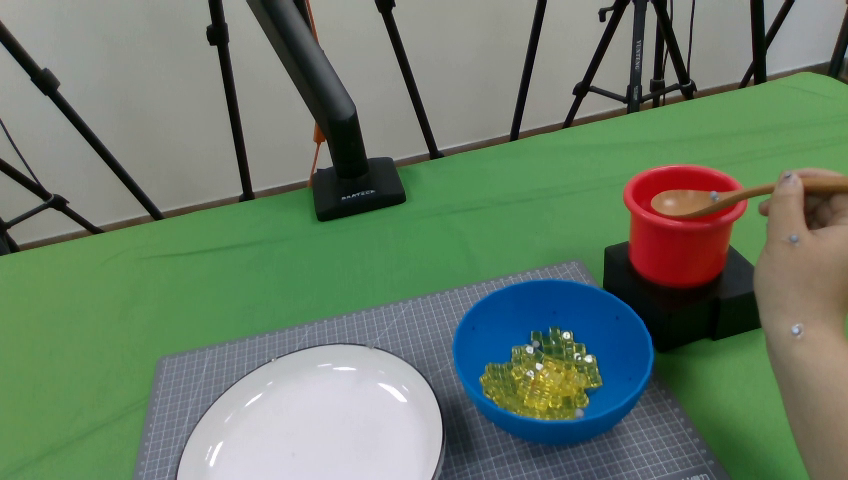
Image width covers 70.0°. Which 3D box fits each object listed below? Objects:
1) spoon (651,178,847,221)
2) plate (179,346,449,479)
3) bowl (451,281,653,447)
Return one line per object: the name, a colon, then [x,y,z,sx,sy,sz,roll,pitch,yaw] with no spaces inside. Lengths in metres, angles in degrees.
spoon: [0.248,-0.032,0.435,0.041,0.022,0.193,-36,14,-26]
plate: [-0.082,0.170,0.477,0.207,0.039,0.205,-6,36,5]
bowl: [0.100,0.110,0.483,0.151,0.077,0.150,-6,36,5]
